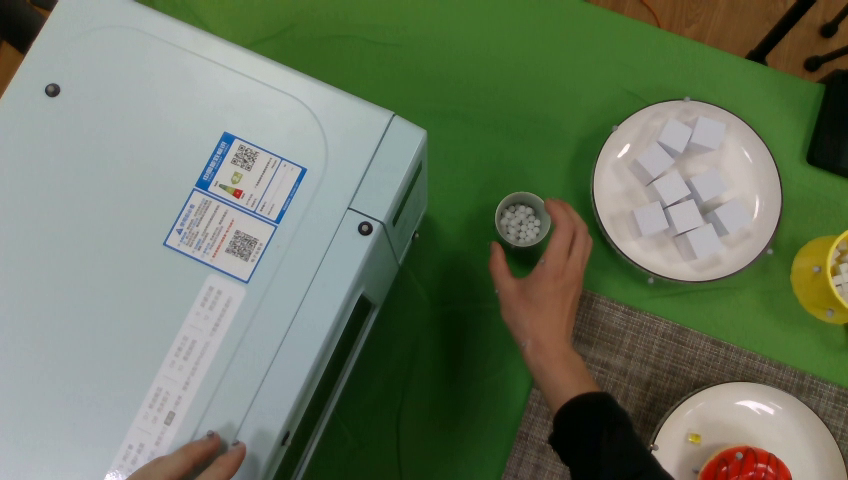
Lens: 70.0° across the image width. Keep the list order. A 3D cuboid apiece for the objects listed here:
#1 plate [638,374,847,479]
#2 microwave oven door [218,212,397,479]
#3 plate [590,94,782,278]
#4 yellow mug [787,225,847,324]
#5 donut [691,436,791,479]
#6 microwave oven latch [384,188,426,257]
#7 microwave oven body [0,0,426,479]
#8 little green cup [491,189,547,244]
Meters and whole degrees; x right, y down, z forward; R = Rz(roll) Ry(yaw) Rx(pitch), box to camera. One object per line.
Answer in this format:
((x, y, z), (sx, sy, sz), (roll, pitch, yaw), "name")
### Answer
((0.322, 0.243, 0.626), (0.209, 0.038, 0.208), (0, 82, 0), "plate")
((-0.118, 0.158, 0.520), (0.039, 0.244, 0.355), (24, 82, 4), "microwave oven door")
((0.287, -0.059, 0.677), (0.208, 0.039, 0.207), (0, 81, 0), "plate")
((0.461, 0.049, 0.647), (0.100, 0.064, 0.130), (-16, 82, -3), "yellow mug")
((0.320, 0.250, 0.614), (0.099, 0.048, 0.099), (0, 84, 3), "donut")
((-0.024, -0.023, 0.651), (0.030, 0.029, 0.079), (26, 83, 4), "microwave oven latch")
((-0.233, 0.061, 0.540), (0.326, 0.261, 0.440), (24, 82, 3), "microwave oven body")
((0.103, -0.023, 0.670), (0.061, 0.039, 0.061), (0, 84, 1), "little green cup")
